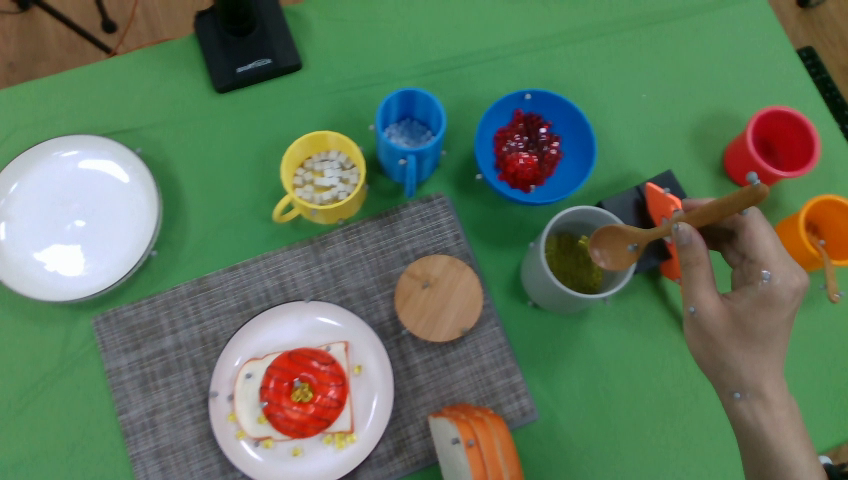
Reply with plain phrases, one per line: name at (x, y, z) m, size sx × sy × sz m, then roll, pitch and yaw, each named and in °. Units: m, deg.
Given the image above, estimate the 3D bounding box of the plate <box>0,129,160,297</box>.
plate at (-0.422, -0.031, 0.729) m, size 0.208 × 0.039 × 0.206 m, roll 1°, pitch 76°, yaw -4°

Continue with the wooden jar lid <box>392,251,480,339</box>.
wooden jar lid at (0.015, 0.067, 0.742) m, size 0.108 × 0.021 × 0.108 m, roll 1°, pitch 77°, yaw -4°

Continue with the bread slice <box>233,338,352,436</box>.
bread slice at (-0.151, 0.173, 0.697) m, size 0.132 × 0.019 × 0.104 m, roll -6°, pitch 75°, yaw -9°

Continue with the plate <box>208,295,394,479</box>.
plate at (-0.137, 0.169, 0.696) m, size 0.209 × 0.038 × 0.208 m, roll 1°, pitch 76°, yaw -4°

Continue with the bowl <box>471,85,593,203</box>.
bowl at (0.129, -0.111, 0.769) m, size 0.151 × 0.077 × 0.150 m, roll 1°, pitch 76°, yaw -4°

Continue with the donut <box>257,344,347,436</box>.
donut at (-0.134, 0.164, 0.668) m, size 0.099 × 0.048 × 0.098 m, roll 2°, pitch 77°, yaw -7°

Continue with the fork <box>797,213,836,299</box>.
fork at (0.471, 0.015, 0.725) m, size 0.028 × 0.019 × 0.207 m, roll 42°, pitch 33°, yaw 0°

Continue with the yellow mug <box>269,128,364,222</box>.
yellow mug at (-0.138, -0.069, 0.745) m, size 0.131 × 0.064 × 0.099 m, roll -42°, pitch 82°, yaw -11°

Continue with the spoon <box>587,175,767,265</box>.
spoon at (0.173, -0.011, 0.441) m, size 0.021 × 0.194 × 0.041 m, roll -28°, pitch 87°, yaw -15°

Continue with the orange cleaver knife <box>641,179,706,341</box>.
orange cleaver knife at (0.305, 0.025, 0.745) m, size 0.012 × 0.076 × 0.212 m, roll -23°, pitch 108°, yaw -9°

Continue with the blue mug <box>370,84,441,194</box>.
blue mug at (-0.023, -0.115, 0.745) m, size 0.082 × 0.106 × 0.116 m, roll -1°, pitch 76°, yaw -4°

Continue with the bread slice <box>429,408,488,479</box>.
bread slice at (0.037, 0.230, 0.648) m, size 0.018 × 0.135 × 0.106 m, roll -12°, pitch 75°, yaw -15°

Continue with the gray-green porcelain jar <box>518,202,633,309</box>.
gray-green porcelain jar at (0.171, 0.024, 0.713) m, size 0.106 × 0.127 × 0.105 m, roll 1°, pitch 75°, yaw -4°
